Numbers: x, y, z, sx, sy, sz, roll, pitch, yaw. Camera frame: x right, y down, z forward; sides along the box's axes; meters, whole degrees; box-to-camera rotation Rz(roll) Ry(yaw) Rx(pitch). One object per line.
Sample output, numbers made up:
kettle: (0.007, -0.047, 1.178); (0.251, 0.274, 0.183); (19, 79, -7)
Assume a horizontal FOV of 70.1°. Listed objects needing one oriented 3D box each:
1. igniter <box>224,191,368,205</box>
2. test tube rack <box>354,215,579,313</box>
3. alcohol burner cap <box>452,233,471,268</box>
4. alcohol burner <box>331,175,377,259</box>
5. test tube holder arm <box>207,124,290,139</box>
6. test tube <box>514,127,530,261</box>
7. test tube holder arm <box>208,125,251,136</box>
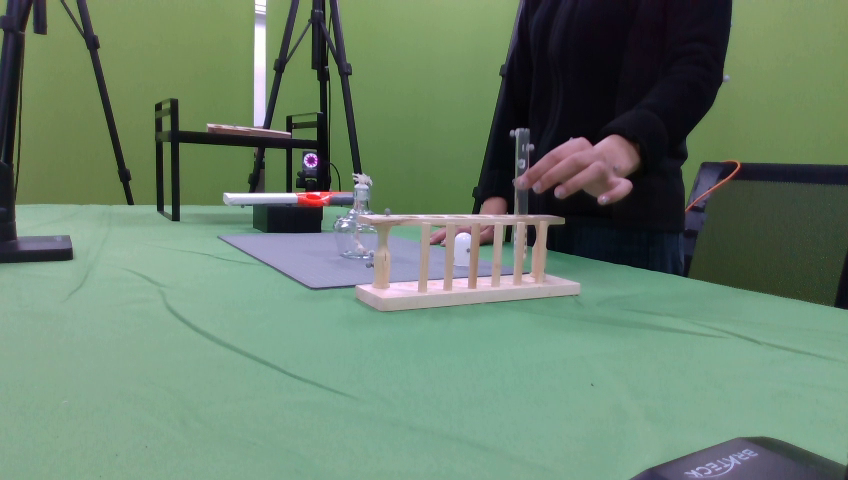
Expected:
igniter: (-0.237, -0.079, 1.157); (0.278, 0.025, 0.057); (-2, 21, -31)
test tube rack: (0.053, 0.019, 0.635); (0.243, 0.085, 0.066); (-1, 8, -29)
alcohol burner cap: (0.053, 0.014, 0.823); (0.034, 0.048, 0.034); (3, 7, 0)
alcohol burner: (-0.091, -0.033, 0.855); (0.078, 0.119, 0.078); (4, 7, 0)
test tube holder arm: (-0.381, -0.238, 1.327); (0.179, 0.015, 0.013); (0, 41, -32)
test tube: (0.110, -0.051, 0.677); (0.017, 0.150, 0.017); (0, 6, 0)
test tube holder arm: (-0.418, -0.234, 1.299); (0.088, 0.015, 0.010); (1, 41, -31)
